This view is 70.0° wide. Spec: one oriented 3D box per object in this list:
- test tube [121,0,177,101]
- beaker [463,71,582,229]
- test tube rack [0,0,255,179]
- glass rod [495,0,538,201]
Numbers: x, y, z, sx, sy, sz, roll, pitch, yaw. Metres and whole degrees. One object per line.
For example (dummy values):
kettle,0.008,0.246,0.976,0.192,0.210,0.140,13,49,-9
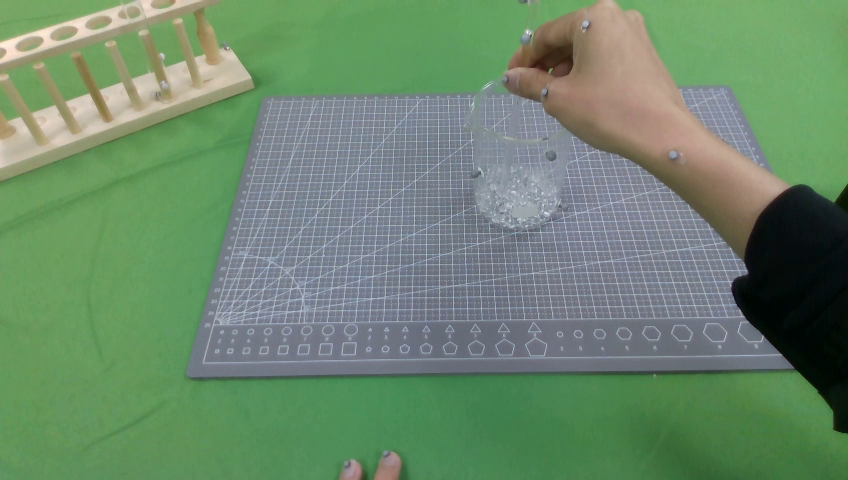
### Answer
test tube,-0.244,-0.185,0.521,0.017,0.151,0.017,0,49,1
beaker,0.070,-0.063,0.457,0.084,0.101,0.073,-15,52,-8
test tube rack,-0.290,-0.150,0.552,0.242,0.086,0.066,-26,55,-18
glass rod,0.061,-0.095,0.408,0.008,0.201,0.008,1,51,-1
